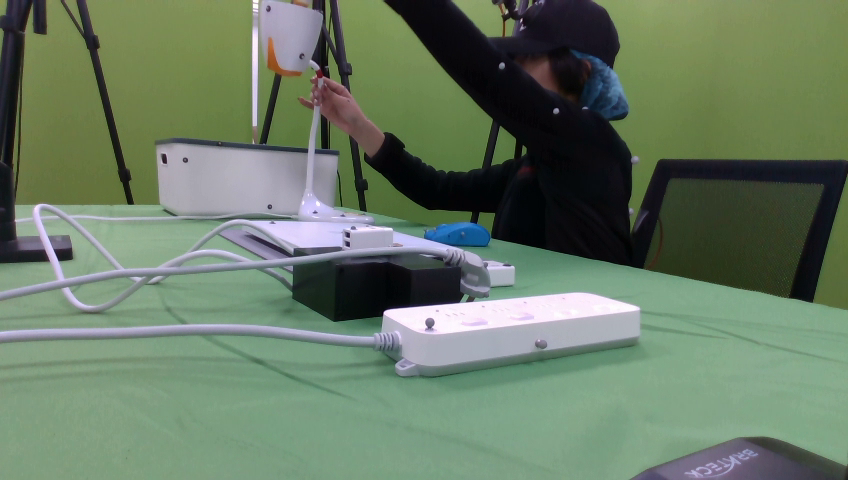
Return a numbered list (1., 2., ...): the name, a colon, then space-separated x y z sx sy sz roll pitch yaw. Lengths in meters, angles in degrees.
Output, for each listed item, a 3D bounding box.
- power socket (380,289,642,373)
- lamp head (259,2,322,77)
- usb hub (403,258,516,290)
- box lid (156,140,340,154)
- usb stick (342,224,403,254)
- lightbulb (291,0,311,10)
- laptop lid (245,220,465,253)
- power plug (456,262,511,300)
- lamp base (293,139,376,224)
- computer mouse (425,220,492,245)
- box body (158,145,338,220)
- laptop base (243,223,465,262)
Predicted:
1. power socket: 0.072 0.064 0.461 0.228 0.032 0.072 -2 8 -30
2. lamp head: -0.246 -0.361 1.107 0.112 0.123 0.112 7 15 -2
3. usb hub: 0.042 0.038 0.690 0.126 0.025 0.049 -2 10 -30
4. box lid: -0.409 -0.213 1.404 0.373 0.015 0.262 -2 8 -32
5. usb stick: -0.047 -0.001 0.567 0.059 0.027 0.021 0 5 -32
6. lightbulb: -0.216 -0.446 1.079 0.059 0.107 0.059 16 20 -6
7. laptop lid: -0.124 -0.009 0.945 0.243 0.013 0.355 1 7 -29
8. power plug: 0.052 0.051 0.543 0.035 0.052 0.072 6 38 -20
9. lamp base: -0.191 -0.121 1.257 0.179 0.180 0.161 0 6 7
10. computer mouse: 0.060 -0.013 1.060 0.117 0.041 0.062 -2 9 -6
11. box body: -0.410 -0.139 1.414 0.366 0.160 0.253 -3 8 -33
12. laptop base: -0.126 0.003 0.946 0.237 0.023 0.352 2 6 -31
